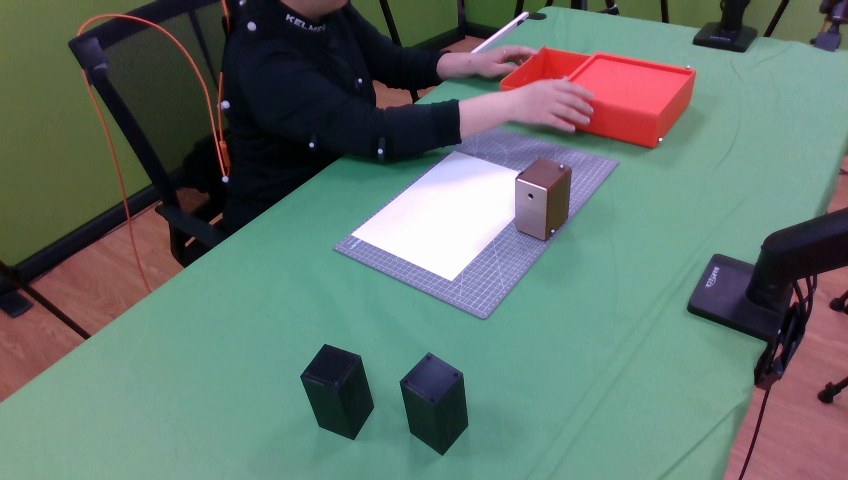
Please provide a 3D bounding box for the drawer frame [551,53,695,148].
[{"bbox_3d":[0.391,-0.281,1.196,0.212,0.083,0.202,22,48,29],"label":"drawer frame"}]

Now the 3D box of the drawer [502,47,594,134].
[{"bbox_3d":[0.298,-0.314,1.259,0.210,0.073,0.195,22,48,28],"label":"drawer"}]

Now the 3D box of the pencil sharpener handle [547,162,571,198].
[{"bbox_3d":[0.222,-0.101,0.967,0.035,0.068,0.031,18,46,38],"label":"pencil sharpener handle"}]

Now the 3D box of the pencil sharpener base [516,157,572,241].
[{"bbox_3d":[0.189,-0.065,0.948,0.061,0.107,0.077,24,49,33],"label":"pencil sharpener base"}]

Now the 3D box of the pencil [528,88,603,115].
[{"bbox_3d":[0.301,-0.295,1.273,0.195,0.012,0.012,-21,42,-19],"label":"pencil"}]
